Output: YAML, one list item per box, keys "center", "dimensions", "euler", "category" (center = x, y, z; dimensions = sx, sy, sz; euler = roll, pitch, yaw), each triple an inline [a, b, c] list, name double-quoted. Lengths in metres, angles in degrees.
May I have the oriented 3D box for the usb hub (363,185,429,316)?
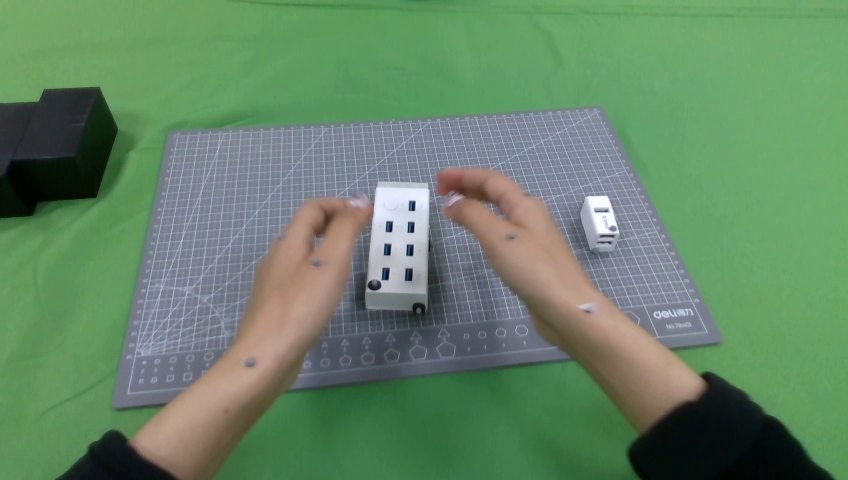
- center: [-0.021, 0.005, 0.507]
  dimensions: [0.049, 0.025, 0.124]
  euler: [2, 49, 0]
  category: "usb hub"

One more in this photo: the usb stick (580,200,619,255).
- center: [0.152, -0.016, 0.531]
  dimensions: [0.021, 0.027, 0.058]
  euler: [-1, 47, -2]
  category: "usb stick"
